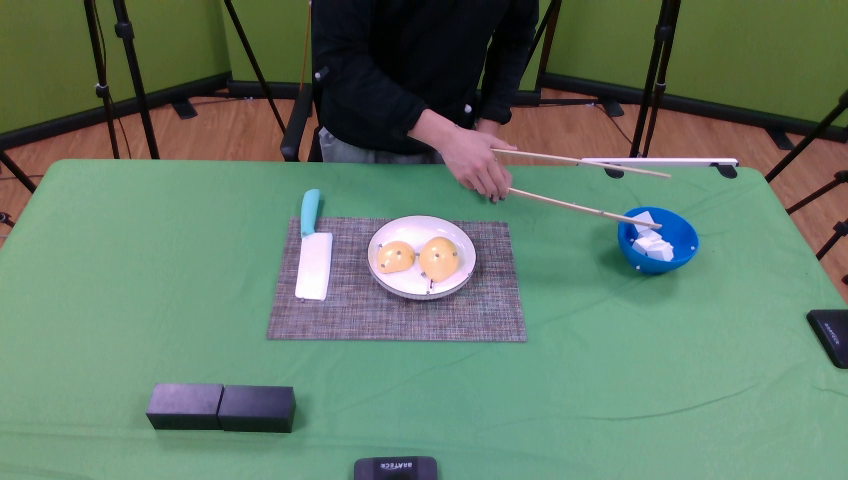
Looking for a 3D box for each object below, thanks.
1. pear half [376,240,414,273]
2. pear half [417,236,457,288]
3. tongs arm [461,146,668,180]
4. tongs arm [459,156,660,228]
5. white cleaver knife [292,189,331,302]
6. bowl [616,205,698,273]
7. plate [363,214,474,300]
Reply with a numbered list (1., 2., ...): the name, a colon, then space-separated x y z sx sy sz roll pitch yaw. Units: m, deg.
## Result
1. pear half: -0.058 0.026 1.146 0.070 0.031 0.088 23 43 22
2. pear half: 0.022 0.039 1.127 0.076 0.056 0.109 5 50 7
3. tongs arm: 0.261 -0.138 1.117 0.388 0.028 0.028 7 91 -5
4. tongs arm: 0.250 -0.086 1.113 0.385 0.026 0.050 12 87 -5
5. white cleaver knife: -0.215 0.006 1.178 0.066 0.021 0.284 5 49 -12
6. bowl: 0.443 0.011 1.182 0.151 0.077 0.150 2 46 -2
7. plate: -0.010 0.036 1.146 0.208 0.039 0.206 3 46 -2
